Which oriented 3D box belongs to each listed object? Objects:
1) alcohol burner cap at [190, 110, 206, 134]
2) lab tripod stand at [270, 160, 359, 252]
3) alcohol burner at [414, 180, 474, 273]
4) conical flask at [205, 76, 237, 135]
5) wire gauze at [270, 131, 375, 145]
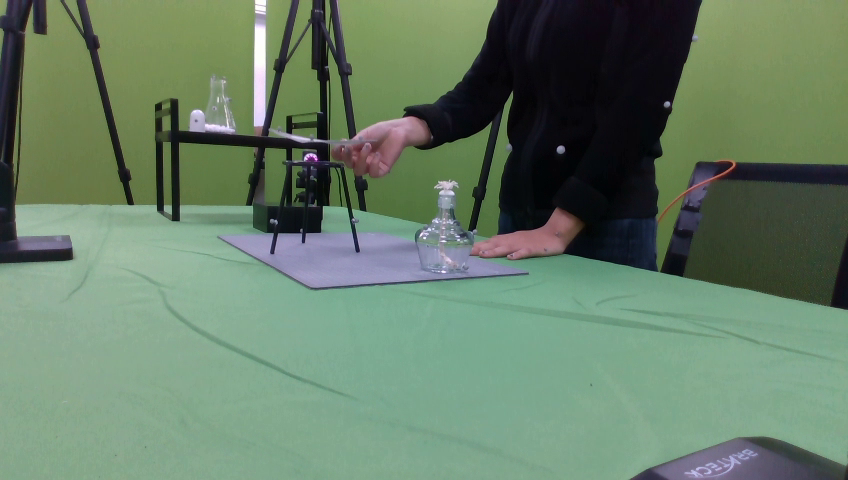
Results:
[{"bbox_3d":[-0.464,-0.243,1.240,0.034,0.048,0.034,4,7,0],"label":"alcohol burner cap"},{"bbox_3d":[-0.167,-0.051,0.892,0.148,0.131,0.148,3,9,0],"label":"lab tripod stand"},{"bbox_3d":[0.027,-0.017,0.773,0.078,0.119,0.078,4,7,0],"label":"alcohol burner"},{"bbox_3d":[-0.443,-0.290,1.309,0.075,0.122,0.075,3,7,0],"label":"conical flask"},{"bbox_3d":[-0.151,-0.148,0.894,0.122,0.011,0.124,-1,11,-37],"label":"wire gauze"}]
